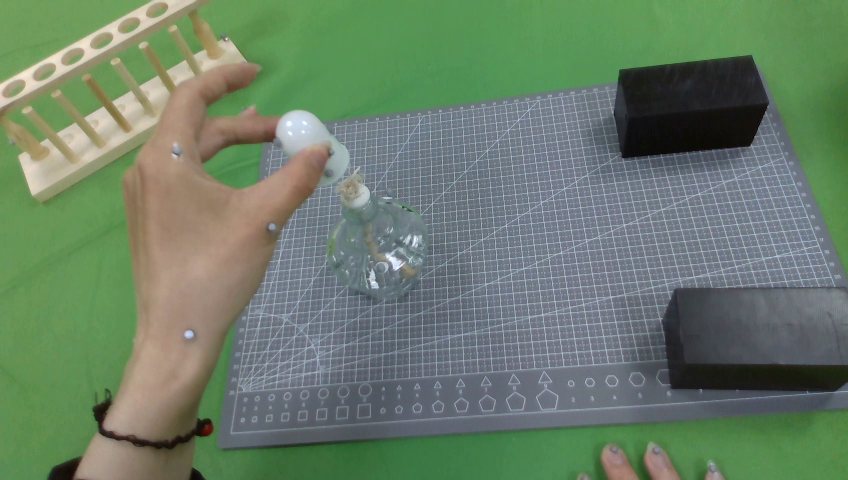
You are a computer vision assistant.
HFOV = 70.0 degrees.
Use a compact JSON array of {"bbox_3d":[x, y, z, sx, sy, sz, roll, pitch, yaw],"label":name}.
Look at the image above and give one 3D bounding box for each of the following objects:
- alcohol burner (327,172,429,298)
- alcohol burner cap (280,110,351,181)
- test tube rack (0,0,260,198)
[{"bbox_3d":[-0.037,-0.007,0.437,0.078,0.120,0.077,-5,57,9],"label":"alcohol burner"},{"bbox_3d":[-0.066,-0.058,0.360,0.034,0.048,0.033,-3,75,12],"label":"alcohol burner cap"},{"bbox_3d":[-0.293,-0.148,0.589,0.242,0.086,0.066,-33,59,-9],"label":"test tube rack"}]
